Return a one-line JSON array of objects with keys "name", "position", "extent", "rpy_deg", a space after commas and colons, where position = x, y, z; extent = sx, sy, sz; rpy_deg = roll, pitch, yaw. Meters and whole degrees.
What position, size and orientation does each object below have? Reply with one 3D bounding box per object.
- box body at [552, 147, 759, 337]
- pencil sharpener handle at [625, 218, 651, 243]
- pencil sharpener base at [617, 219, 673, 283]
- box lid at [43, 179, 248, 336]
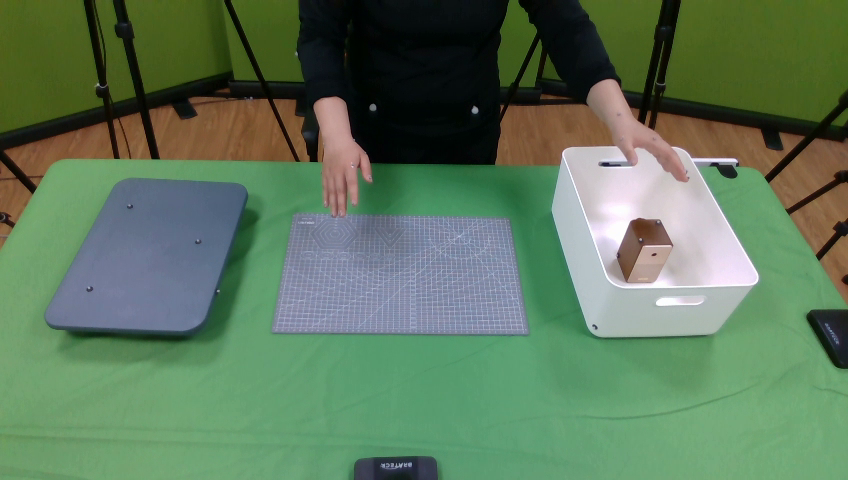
[{"name": "box body", "position": [0.400, -0.001, 1.131], "extent": [0.254, 0.161, 0.361], "rpy_deg": [-1, 46, -5]}, {"name": "pencil sharpener handle", "position": [0.407, -0.025, 1.167], "extent": [0.036, 0.068, 0.030], "rpy_deg": [6, 44, -11]}, {"name": "pencil sharpener base", "position": [0.412, 0.020, 1.140], "extent": [0.061, 0.107, 0.076], "rpy_deg": [-1, 45, -4]}, {"name": "box lid", "position": [-0.484, 0.017, 1.093], "extent": [0.263, 0.015, 0.369], "rpy_deg": [2, 46, -2]}]
